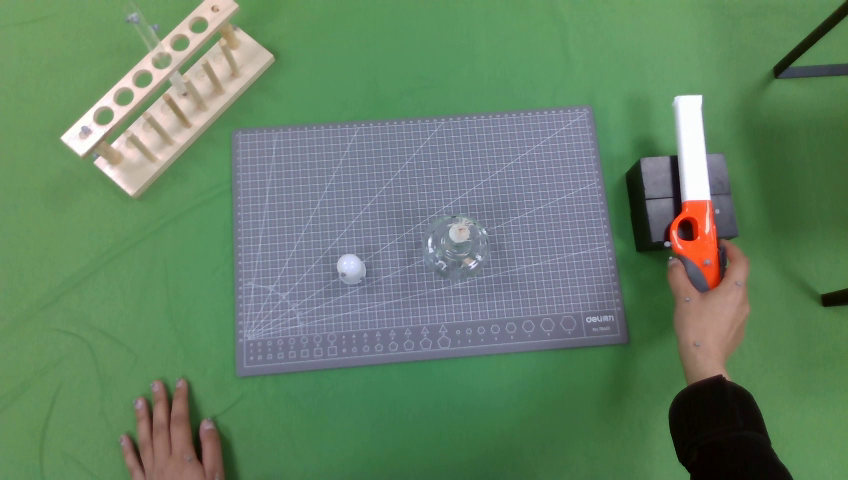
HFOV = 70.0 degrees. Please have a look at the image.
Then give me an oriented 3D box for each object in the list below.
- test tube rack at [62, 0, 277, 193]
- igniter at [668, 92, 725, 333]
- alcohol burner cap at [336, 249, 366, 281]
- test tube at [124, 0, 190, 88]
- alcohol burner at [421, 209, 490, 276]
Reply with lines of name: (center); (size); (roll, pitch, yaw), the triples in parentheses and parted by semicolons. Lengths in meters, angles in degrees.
test tube rack: (-0.288, -0.175, 0.709); (0.066, 0.085, 0.242); (40, 79, 8)
igniter: (0.302, -0.035, 0.679); (0.057, 0.025, 0.275); (0, 78, 7)
alcohol burner cap: (-0.084, 0.026, 0.692); (0.034, 0.048, 0.033); (0, 76, 0)
test tube: (-0.289, -0.212, 0.667); (0.017, 0.151, 0.017); (0, 72, -1)
alcohol burner: (0.036, -0.001, 0.665); (0.078, 0.119, 0.077); (1, 75, -2)
